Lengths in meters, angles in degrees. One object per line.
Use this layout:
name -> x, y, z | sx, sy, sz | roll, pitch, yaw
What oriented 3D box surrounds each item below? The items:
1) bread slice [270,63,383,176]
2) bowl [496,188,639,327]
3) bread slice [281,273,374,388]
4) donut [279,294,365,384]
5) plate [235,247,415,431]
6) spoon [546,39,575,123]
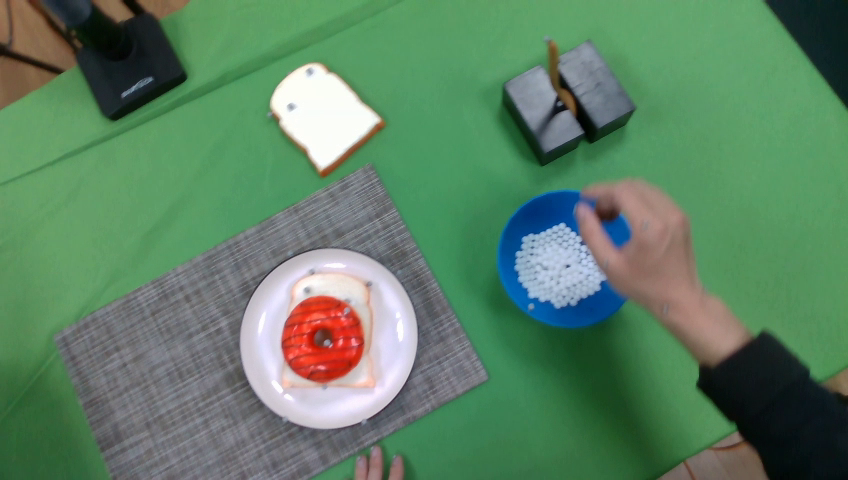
bread slice -> -0.133, -0.159, 0.766 | 0.105, 0.019, 0.131 | -43, 81, -4
bowl -> 0.155, 0.024, 0.679 | 0.151, 0.077, 0.150 | -1, 80, 5
bread slice -> -0.113, 0.106, 0.705 | 0.107, 0.018, 0.134 | -4, 80, 4
donut -> -0.114, 0.110, 0.675 | 0.099, 0.048, 0.098 | -1, 81, 5
plate -> -0.112, 0.113, 0.703 | 0.207, 0.039, 0.207 | -1, 80, 5
spoon -> 0.144, -0.168, 0.654 | 0.021, 0.195, 0.041 | -29, 76, 14
